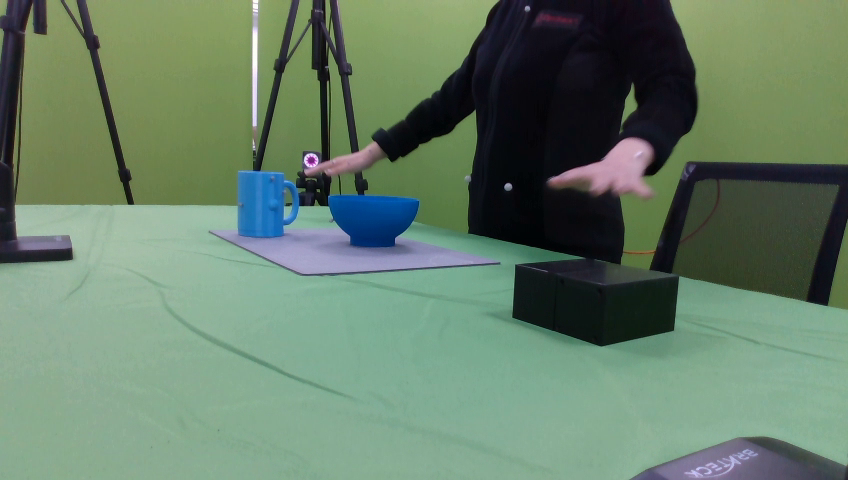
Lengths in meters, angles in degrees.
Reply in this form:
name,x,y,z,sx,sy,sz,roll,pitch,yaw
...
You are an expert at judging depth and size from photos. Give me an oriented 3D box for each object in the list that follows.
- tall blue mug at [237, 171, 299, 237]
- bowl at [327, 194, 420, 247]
name,x,y,z,sx,sy,sz,roll,pitch,yaw
tall blue mug,-0.276,-0.065,1.054,0.077,0.108,0.107,3,7,14
bowl,-0.083,-0.032,0.988,0.151,0.077,0.151,2,7,0
